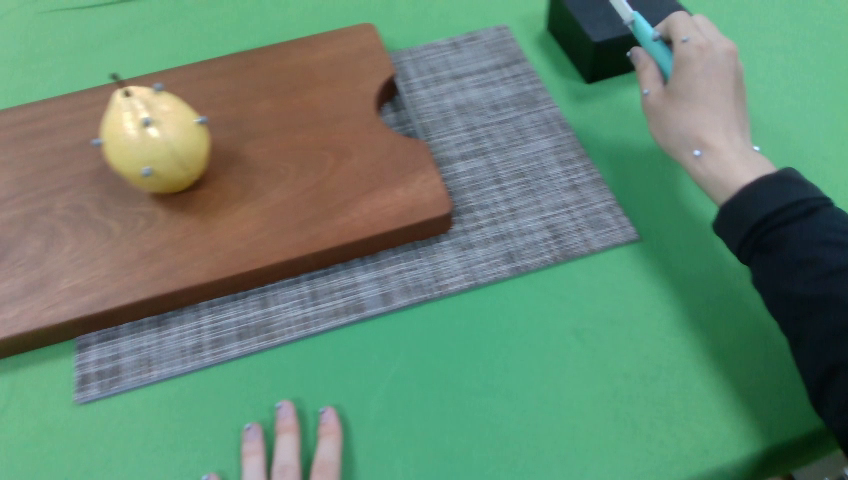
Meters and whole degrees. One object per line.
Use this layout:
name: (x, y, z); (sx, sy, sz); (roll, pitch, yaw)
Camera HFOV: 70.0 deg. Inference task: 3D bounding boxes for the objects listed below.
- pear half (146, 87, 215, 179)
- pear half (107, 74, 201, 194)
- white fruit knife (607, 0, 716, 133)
pear half: (-0.193, -0.093, 0.497); (0.031, 0.089, 0.069); (-29, 55, -16)
pear half: (-0.225, -0.083, 0.481); (0.056, 0.111, 0.075); (-29, 54, -15)
white fruit knife: (0.177, -0.176, 0.503); (0.016, 0.027, 0.207); (-34, 84, 0)
